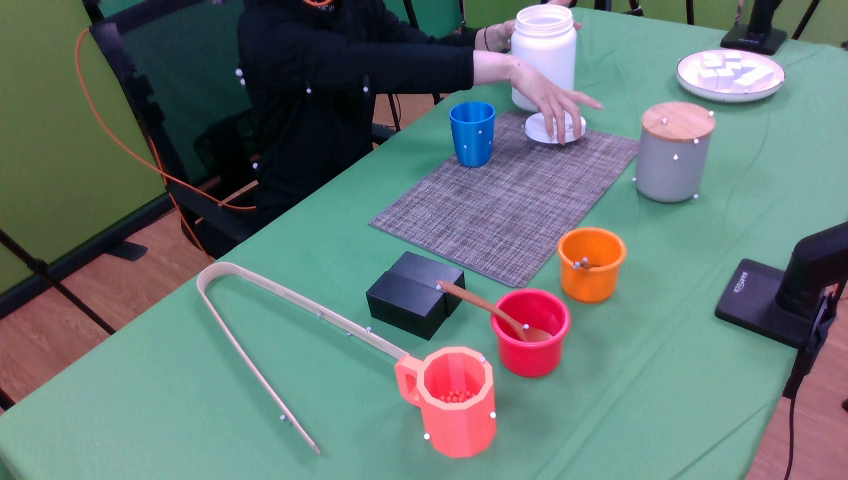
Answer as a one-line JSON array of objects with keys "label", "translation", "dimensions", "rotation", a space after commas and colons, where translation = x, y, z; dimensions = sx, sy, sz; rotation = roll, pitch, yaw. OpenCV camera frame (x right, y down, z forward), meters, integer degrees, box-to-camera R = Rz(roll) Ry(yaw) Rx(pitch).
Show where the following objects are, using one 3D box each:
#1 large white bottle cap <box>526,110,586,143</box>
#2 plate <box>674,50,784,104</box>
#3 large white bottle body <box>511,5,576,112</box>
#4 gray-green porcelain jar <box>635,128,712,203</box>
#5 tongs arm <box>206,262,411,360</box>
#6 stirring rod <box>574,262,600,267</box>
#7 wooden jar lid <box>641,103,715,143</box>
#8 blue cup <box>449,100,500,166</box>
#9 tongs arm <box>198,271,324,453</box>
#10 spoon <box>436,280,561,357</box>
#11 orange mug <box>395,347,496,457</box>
[{"label": "large white bottle cap", "translation": [0.255, -0.221, 1.172], "dimensions": [0.115, 0.018, 0.114], "rotation": [-4, 36, 3]}, {"label": "plate", "translation": [0.631, -0.336, 1.262], "dimensions": [0.207, 0.039, 0.206], "rotation": [-4, 41, 4]}, {"label": "large white bottle body", "translation": [0.247, -0.375, 1.252], "dimensions": [0.130, 0.185, 0.130], "rotation": [-5, 41, 4]}, {"label": "gray-green porcelain jar", "translation": [0.404, -0.133, 0.992], "dimensions": [0.106, 0.127, 0.105], "rotation": [-4, 40, 4]}, {"label": "tongs arm", "translation": [-0.179, 0.106, 0.870], "dimensions": [0.382, 0.027, 0.051], "rotation": [23, 55, 32]}, {"label": "stirring rod", "translation": [0.222, 0.033, 0.816], "dimensions": [0.014, 0.006, 0.177], "rotation": [7, 1, 22]}, {"label": "wooden jar lid", "translation": [0.398, -0.180, 0.952], "dimensions": [0.108, 0.021, 0.108], "rotation": [-4, 43, 4]}, {"label": "blue cup", "translation": [0.091, -0.195, 1.123], "dimensions": [0.092, 0.100, 0.092], "rotation": [-3, 40, 3]}, {"label": "tongs arm", "translation": [-0.236, 0.154, 0.831], "dimensions": [0.028, 0.028, 0.384], "rotation": [-37, 48, -18]}, {"label": "spoon", "translation": [0.096, 0.095, 0.757], "dimensions": [0.195, 0.021, 0.041], "rotation": [34, 41, -20]}, {"label": "orange mug", "translation": [0.024, 0.180, 0.703], "dimensions": [0.125, 0.101, 0.083], "rotation": [21, 48, 23]}]
